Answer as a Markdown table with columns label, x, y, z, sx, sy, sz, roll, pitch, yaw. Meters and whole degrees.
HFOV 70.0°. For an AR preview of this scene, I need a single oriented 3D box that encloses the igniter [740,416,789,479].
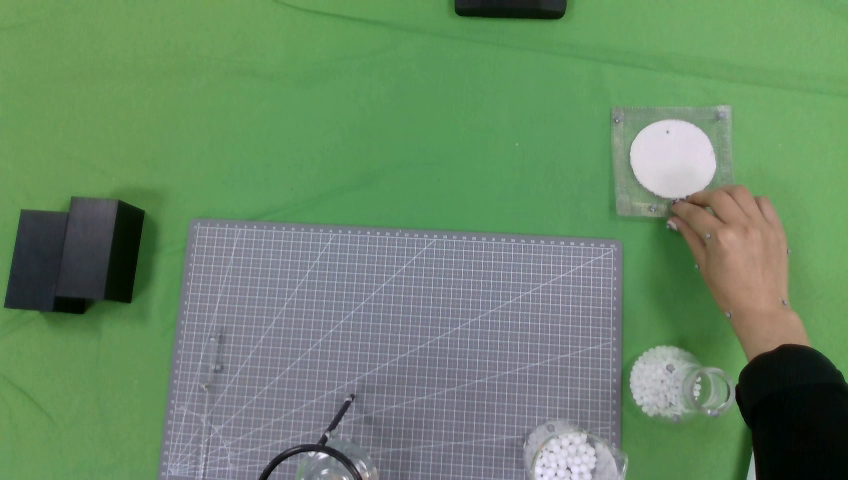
| label | x | y | z | sx | sy | sz | roll | pitch | yaw |
| --- | --- | --- | --- | --- | --- | --- | --- | --- | --- |
| igniter | 0.287 | 0.299 | 0.551 | 0.057 | 0.025 | 0.276 | 18 | 82 | -4 |

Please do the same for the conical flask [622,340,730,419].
| label | x | y | z | sx | sy | sz | roll | pitch | yaw |
| --- | --- | --- | --- | --- | --- | --- | --- | --- | --- |
| conical flask | 0.226 | 0.125 | 0.534 | 0.075 | 0.122 | 0.075 | -1 | 80 | 4 |

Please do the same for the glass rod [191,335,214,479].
| label | x | y | z | sx | sy | sz | roll | pitch | yaw |
| --- | --- | --- | --- | --- | --- | --- | --- | --- | --- |
| glass rod | -0.223 | 0.194 | 0.602 | 0.008 | 0.008 | 0.199 | 4 | 84 | 4 |

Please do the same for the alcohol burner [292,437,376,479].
| label | x | y | z | sx | sy | sz | roll | pitch | yaw |
| --- | --- | --- | --- | --- | --- | --- | --- | --- | --- |
| alcohol burner | -0.084 | 0.217 | 0.538 | 0.078 | 0.119 | 0.077 | -1 | 79 | 5 |

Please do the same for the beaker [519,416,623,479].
| label | x | y | z | sx | sy | sz | roll | pitch | yaw |
| --- | --- | --- | --- | --- | --- | --- | --- | --- | --- |
| beaker | 0.125 | 0.196 | 0.537 | 0.084 | 0.100 | 0.073 | -20 | 80 | -1 |

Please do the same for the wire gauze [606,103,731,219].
| label | x | y | z | sx | sy | sz | roll | pitch | yaw |
| --- | --- | --- | --- | --- | --- | --- | --- | --- | --- |
| wire gauze | 0.252 | -0.083 | 0.624 | 0.125 | 0.011 | 0.121 | 2 | 80 | 1 |

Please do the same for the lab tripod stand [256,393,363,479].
| label | x | y | z | sx | sy | sz | roll | pitch | yaw |
| --- | --- | --- | --- | --- | --- | --- | --- | --- | --- |
| lab tripod stand | -0.088 | 0.215 | 0.528 | 0.148 | 0.132 | 0.148 | 0 | 82 | 4 |
